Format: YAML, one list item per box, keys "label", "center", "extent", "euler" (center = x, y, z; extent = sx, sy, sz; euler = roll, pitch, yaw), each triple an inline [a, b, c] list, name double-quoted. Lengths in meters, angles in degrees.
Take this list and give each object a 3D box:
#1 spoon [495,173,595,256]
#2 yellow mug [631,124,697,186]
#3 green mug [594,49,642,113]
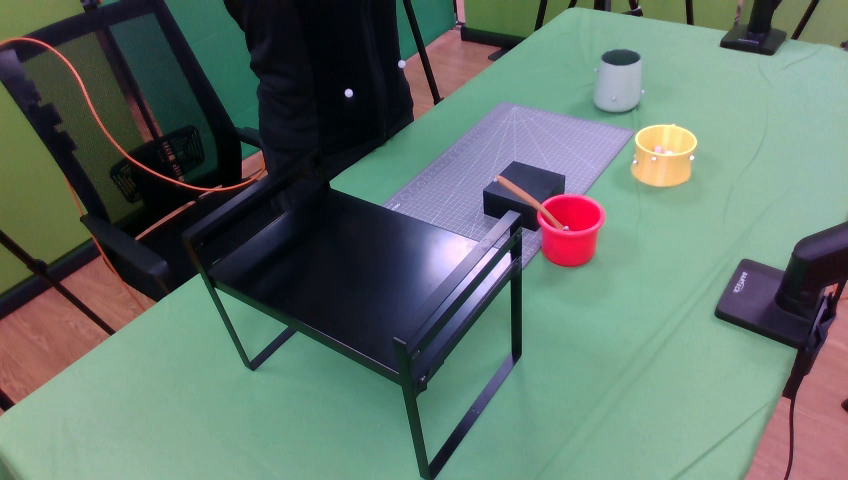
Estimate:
- label: "spoon"
  center: [0.181, -0.040, 0.902]
  extent: [0.194, 0.021, 0.041]
  euler: [40, 51, -14]
- label: "yellow mug"
  center: [0.424, -0.158, 1.062]
  extent: [0.099, 0.064, 0.131]
  euler: [15, 45, 24]
- label: "green mug"
  center: [0.397, -0.333, 1.240]
  extent: [0.092, 0.105, 0.125]
  euler: [-3, 41, 7]
